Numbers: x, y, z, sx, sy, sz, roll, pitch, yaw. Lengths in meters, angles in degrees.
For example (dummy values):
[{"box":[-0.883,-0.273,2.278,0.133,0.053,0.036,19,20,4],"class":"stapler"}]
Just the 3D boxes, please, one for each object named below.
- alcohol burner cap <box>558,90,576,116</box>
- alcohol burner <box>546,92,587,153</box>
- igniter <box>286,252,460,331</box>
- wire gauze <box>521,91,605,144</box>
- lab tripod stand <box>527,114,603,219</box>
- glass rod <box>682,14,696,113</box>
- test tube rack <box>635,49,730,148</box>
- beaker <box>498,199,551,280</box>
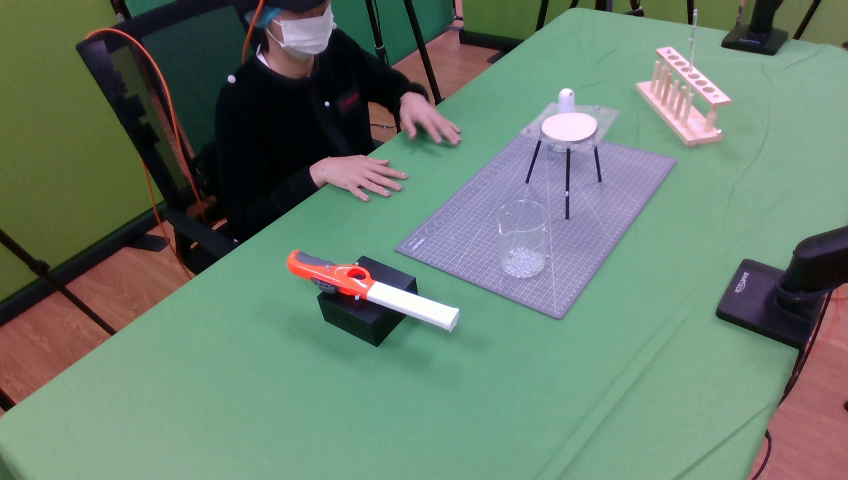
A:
[{"box":[0.260,-0.250,1.102,0.034,0.048,0.033,-7,37,5],"class":"alcohol burner cap"},{"box":[0.263,-0.222,1.124,0.078,0.119,0.077,-5,42,5],"class":"alcohol burner"},{"box":[-0.080,0.067,0.832,0.275,0.025,0.057,17,46,22],"class":"igniter"},{"box":[0.219,-0.191,0.948,0.121,0.011,0.125,8,49,13],"class":"wire gauze"},{"box":[0.234,-0.129,1.002,0.148,0.132,0.147,-6,40,6],"class":"lab tripod stand"},{"box":[0.495,-0.326,1.132,0.008,0.201,0.008,-8,42,8],"class":"glass rod"},{"box":[0.497,-0.283,1.185,0.067,0.085,0.240,-10,40,-2],"class":"test tube rack"},{"box":[0.144,0.003,0.884,0.073,0.101,0.084,28,52,36],"class":"beaker"}]
